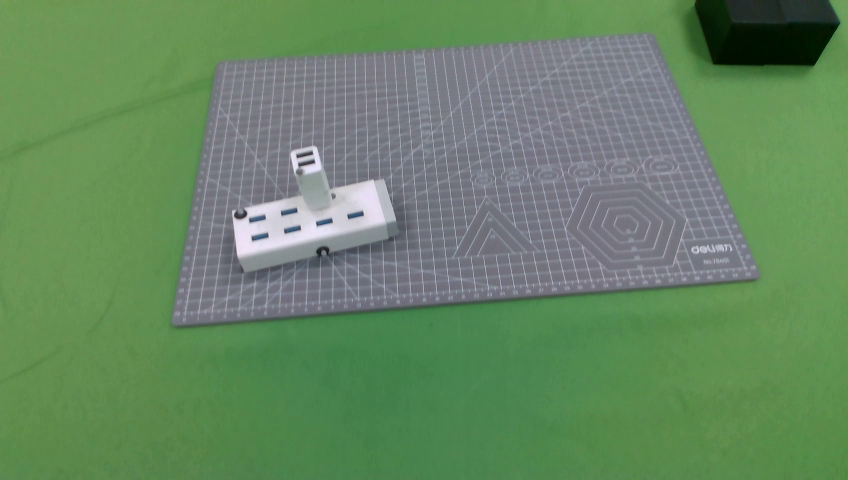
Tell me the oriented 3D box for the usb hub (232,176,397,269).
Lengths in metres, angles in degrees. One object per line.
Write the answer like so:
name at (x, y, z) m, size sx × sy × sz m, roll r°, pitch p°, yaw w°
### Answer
usb hub at (-0.088, -0.016, 0.488) m, size 0.125 × 0.025 × 0.049 m, roll -13°, pitch 56°, yaw -8°

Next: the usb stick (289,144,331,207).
usb stick at (-0.087, -0.045, 0.473) m, size 0.021 × 0.060 × 0.027 m, roll -15°, pitch 56°, yaw -6°
